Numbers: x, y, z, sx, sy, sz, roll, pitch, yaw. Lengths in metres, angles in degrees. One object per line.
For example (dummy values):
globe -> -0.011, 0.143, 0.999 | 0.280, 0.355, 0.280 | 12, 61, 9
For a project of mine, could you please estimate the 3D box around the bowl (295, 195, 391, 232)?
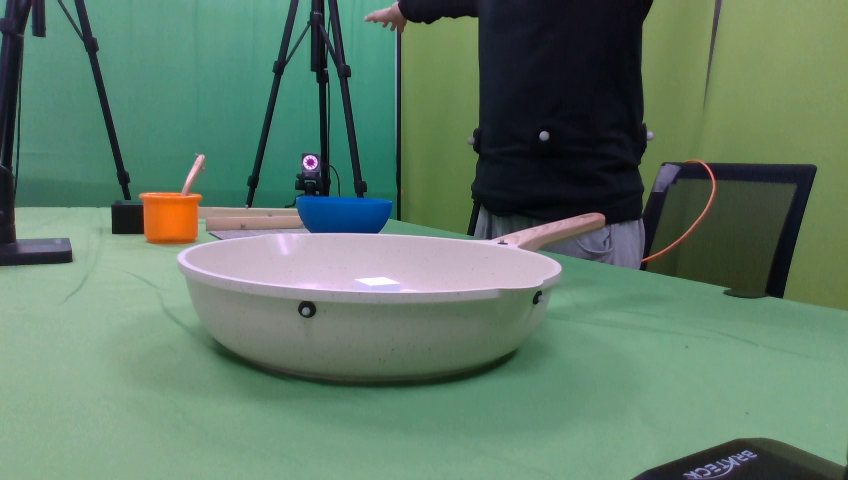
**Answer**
bowl -> -0.127, -0.027, 0.946 | 0.151, 0.077, 0.151 | 2, 7, 0

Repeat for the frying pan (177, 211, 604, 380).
frying pan -> 0.034, 0.019, 0.556 | 0.490, 0.102, 0.305 | -15, 18, -42

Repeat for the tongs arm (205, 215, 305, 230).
tongs arm -> -0.257, -0.041, 1.241 | 0.390, 0.028, 0.028 | -4, 7, -42

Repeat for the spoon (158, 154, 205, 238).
spoon -> -0.392, -0.076, 0.998 | 0.041, 0.193, 0.021 | 1, -36, 6

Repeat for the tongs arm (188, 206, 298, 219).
tongs arm -> -0.301, -0.055, 1.307 | 0.387, 0.026, 0.050 | -1, 8, -29
